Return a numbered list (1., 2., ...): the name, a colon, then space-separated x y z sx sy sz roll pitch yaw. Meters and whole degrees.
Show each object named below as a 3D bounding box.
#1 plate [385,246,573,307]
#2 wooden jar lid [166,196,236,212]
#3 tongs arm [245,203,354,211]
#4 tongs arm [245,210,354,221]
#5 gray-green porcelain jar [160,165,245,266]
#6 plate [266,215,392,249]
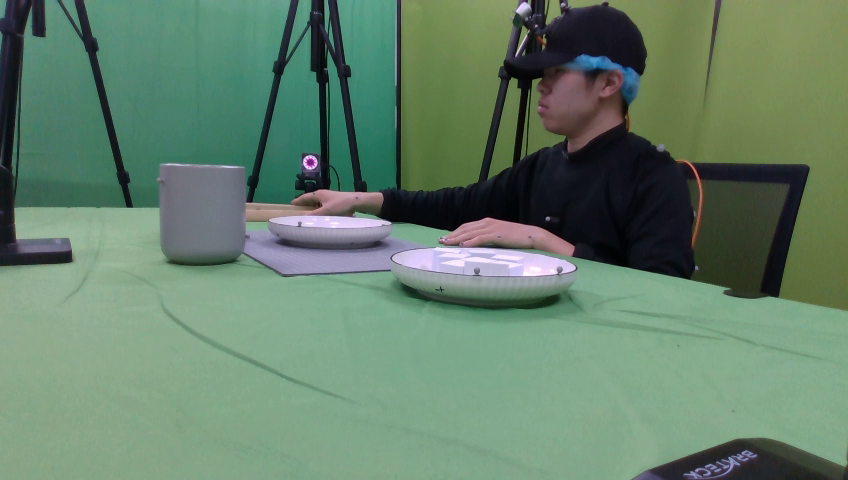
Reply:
1. plate: 0.060 0.041 0.678 0.208 0.039 0.207 3 7 0
2. wooden jar lid: -0.369 -0.060 1.001 0.108 0.020 0.108 3 6 0
3. tongs arm: -0.357 -0.070 1.407 0.386 0.026 0.050 2 9 -16
4. tongs arm: -0.337 -0.055 1.342 0.389 0.028 0.028 0 7 -25
5. gray-green porcelain jar: -0.291 -0.034 0.799 0.106 0.126 0.106 2 8 0
6. plate: -0.159 -0.015 1.019 0.209 0.038 0.209 3 7 0
